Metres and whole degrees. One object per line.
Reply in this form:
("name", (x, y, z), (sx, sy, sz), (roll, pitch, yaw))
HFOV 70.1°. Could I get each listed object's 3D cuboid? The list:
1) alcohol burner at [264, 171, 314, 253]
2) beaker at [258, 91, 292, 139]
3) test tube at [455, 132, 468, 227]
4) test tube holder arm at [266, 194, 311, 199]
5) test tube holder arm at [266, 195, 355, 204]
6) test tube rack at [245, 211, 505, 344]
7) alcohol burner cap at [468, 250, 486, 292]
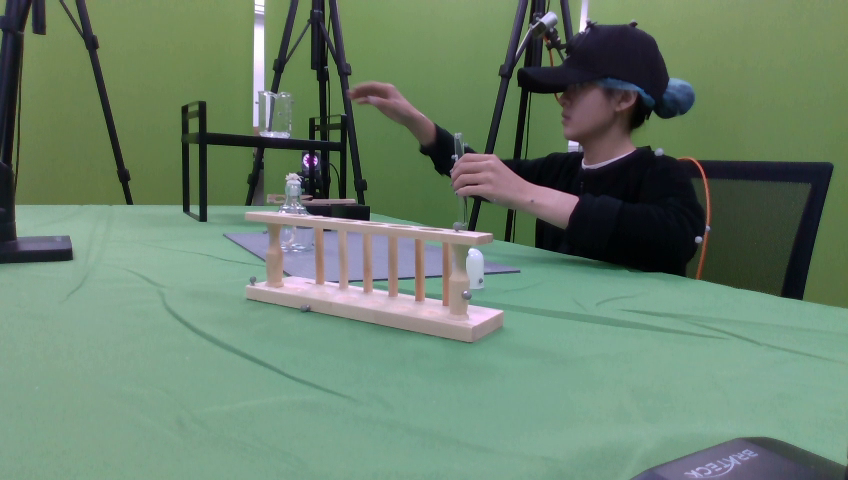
("alcohol burner", (-0.194, -0.042, 0.888), (0.078, 0.119, 0.078), (3, 5, 0))
("beaker", (-0.331, -0.276, 1.343), (0.074, 0.100, 0.083), (0, 8, -20))
("test tube", (0.060, -0.096, 0.968), (0.017, 0.150, 0.017), (-3, 6, 1))
("test tube holder arm", (-0.262, -0.084, 1.173), (0.088, 0.010, 0.015), (-2, 3, -30))
("test tube holder arm", (-0.222, -0.080, 1.196), (0.179, 0.013, 0.015), (-3, 3, -30))
("test tube rack", (-0.049, 0.025, 0.547), (0.241, 0.085, 0.067), (7, 8, 29))
("alcohol burner cap", (0.056, 0.035, 0.690), (0.034, 0.048, 0.034), (2, 7, 0))
